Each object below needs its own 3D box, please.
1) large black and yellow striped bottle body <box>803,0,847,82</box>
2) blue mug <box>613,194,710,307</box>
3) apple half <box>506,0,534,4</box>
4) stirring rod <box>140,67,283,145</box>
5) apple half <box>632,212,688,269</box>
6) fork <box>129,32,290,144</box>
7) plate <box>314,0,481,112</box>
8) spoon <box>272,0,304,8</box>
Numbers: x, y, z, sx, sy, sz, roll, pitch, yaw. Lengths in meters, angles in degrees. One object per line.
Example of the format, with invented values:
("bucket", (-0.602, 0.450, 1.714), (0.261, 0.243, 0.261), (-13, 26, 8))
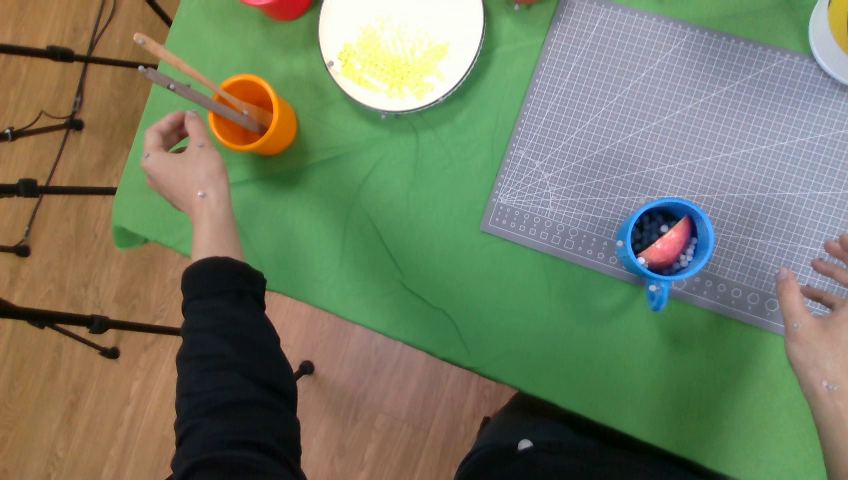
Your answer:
("large black and yellow striped bottle body", (0.461, -0.236, 0.569), (0.130, 0.184, 0.130), (-1, 86, 11))
("blue mug", (0.247, 0.014, 0.646), (0.082, 0.106, 0.116), (4, 90, 12))
("apple half", (0.107, -0.303, 0.698), (0.080, 0.075, 0.053), (24, 97, 7))
("stirring rod", (-0.251, -0.158, 0.729), (0.178, 0.006, 0.014), (25, 82, -30))
("apple half", (0.254, 0.007, 0.639), (0.081, 0.082, 0.032), (-41, 74, 8))
("fork", (-0.253, -0.180, 0.727), (0.209, 0.018, 0.028), (33, 96, -33))
("plate", (-0.032, -0.258, 0.742), (0.208, 0.038, 0.209), (0, 89, 12))
("spoon", (-0.232, -0.342, 0.730), (0.195, 0.021, 0.041), (24, 93, -33))
